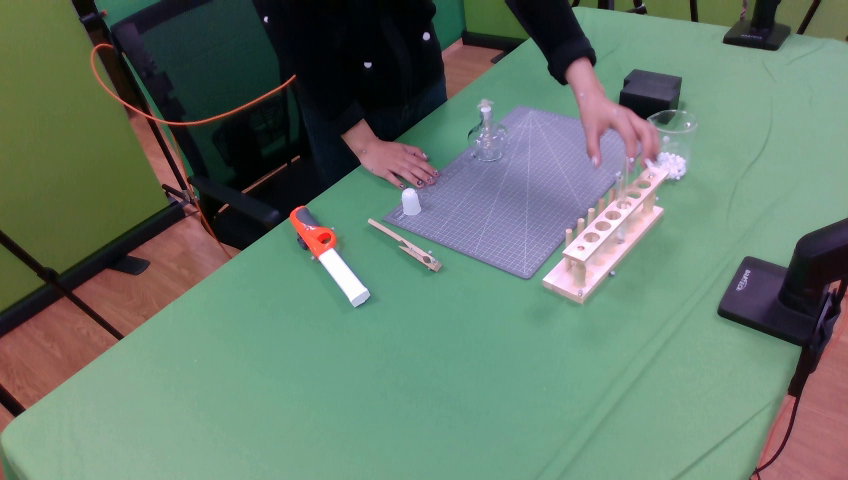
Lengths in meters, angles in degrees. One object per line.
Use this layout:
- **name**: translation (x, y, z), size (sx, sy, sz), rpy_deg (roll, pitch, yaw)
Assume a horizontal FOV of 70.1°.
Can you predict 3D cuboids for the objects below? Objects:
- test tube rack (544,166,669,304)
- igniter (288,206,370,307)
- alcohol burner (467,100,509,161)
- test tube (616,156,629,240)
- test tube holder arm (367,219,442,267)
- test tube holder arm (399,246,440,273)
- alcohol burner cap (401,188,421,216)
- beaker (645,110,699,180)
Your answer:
- **test tube rack**: translation (0.274, -0.018, 0.903), size (0.066, 0.085, 0.243), rpy_deg (26, 51, 35)
- **igniter**: translation (-0.163, 0.018, 0.986), size (0.057, 0.025, 0.274), rpy_deg (-33, 45, -12)
- **alcohol burner**: translation (0.118, -0.209, 1.131), size (0.078, 0.119, 0.077), rpy_deg (-6, 42, 6)
- **test tube**: translation (0.284, -0.057, 0.869), size (0.017, 0.151, 0.017), rpy_deg (-8, 41, 8)
- **test tube holder arm**: translation (-0.035, 0.004, 0.985), size (0.177, 0.015, 0.013), rpy_deg (32, 90, 40)
- **test tube holder arm**: translation (-0.009, 0.027, 0.957), size (0.087, 0.015, 0.010), rpy_deg (34, 92, 40)
- **alcohol burner cap**: translation (-0.025, -0.069, 1.048), size (0.034, 0.048, 0.033), rpy_deg (-5, 41, 5)
- **beaker**: translation (0.417, -0.160, 1.032), size (0.083, 0.101, 0.074), rpy_deg (25, 51, 34)
